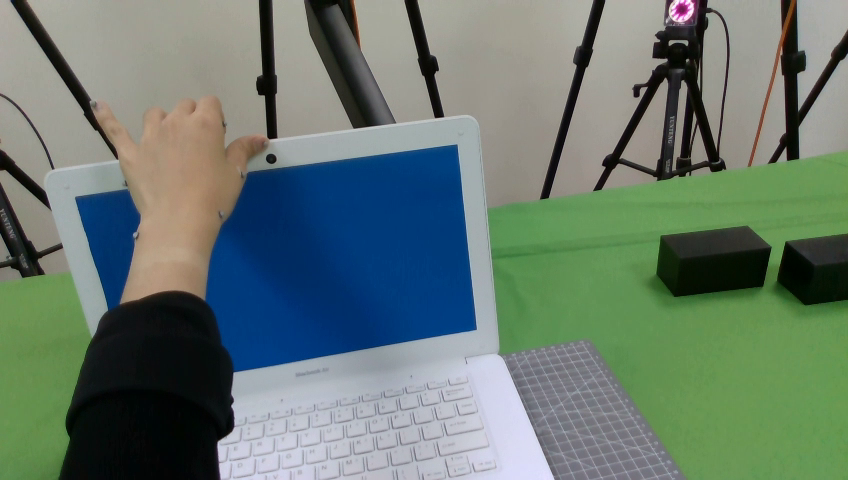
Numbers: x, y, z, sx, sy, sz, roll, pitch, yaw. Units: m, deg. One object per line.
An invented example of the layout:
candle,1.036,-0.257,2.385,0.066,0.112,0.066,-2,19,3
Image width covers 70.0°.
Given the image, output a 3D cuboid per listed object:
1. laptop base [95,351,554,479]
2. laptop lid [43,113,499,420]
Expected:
laptop base,-0.081,0.196,0.463,0.355,0.023,0.233,-9,33,-6
laptop lid,-0.114,0.028,0.528,0.357,0.243,0.013,-10,18,-6
